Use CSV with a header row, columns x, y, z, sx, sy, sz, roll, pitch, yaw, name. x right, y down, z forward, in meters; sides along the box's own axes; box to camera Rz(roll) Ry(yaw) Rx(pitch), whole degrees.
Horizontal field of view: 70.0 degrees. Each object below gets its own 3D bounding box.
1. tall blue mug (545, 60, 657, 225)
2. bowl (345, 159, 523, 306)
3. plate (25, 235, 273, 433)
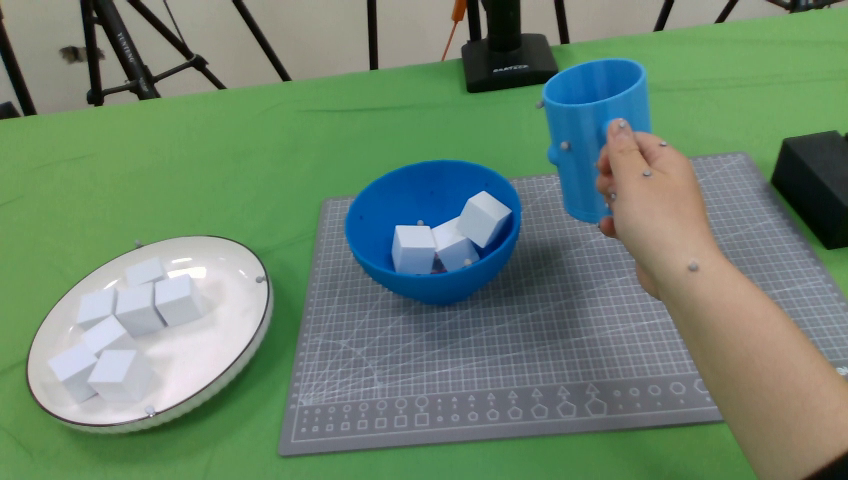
x,y,z,sx,sy,sz,roll,pitch,yaw,name
0.150,-0.071,0.474,0.078,0.109,0.106,-31,36,-15,tall blue mug
0.012,0.005,0.530,0.151,0.077,0.150,-5,43,5,bowl
-0.232,0.079,0.531,0.209,0.038,0.207,-5,43,5,plate
